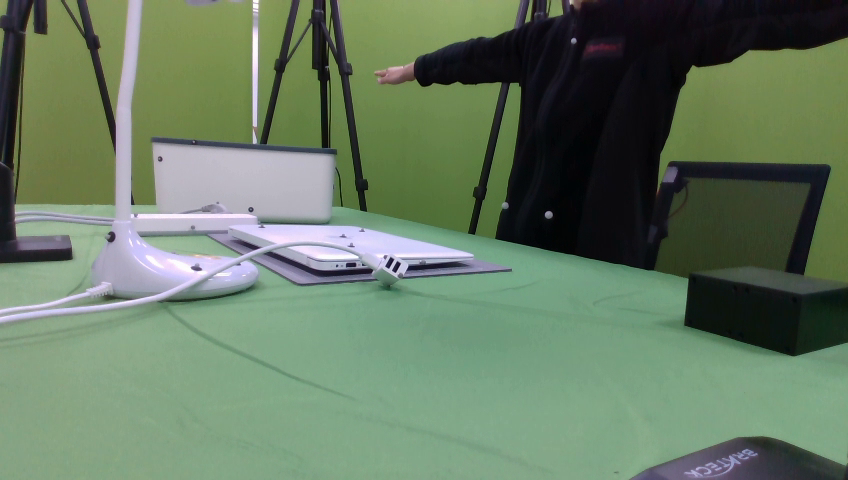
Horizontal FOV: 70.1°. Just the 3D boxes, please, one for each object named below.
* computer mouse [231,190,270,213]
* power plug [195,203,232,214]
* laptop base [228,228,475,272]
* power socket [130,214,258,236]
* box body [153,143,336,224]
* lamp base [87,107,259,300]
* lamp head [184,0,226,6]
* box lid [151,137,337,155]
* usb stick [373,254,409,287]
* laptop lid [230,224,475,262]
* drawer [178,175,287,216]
[{"bbox_3d":[-0.382,-0.086,1.342,0.063,0.041,0.117,11,10,-4],"label":"computer mouse"},{"bbox_3d":[-0.392,-0.043,1.140,0.072,0.052,0.035,-11,2,36],"label":"power plug"},{"bbox_3d":[-0.122,0.012,0.889,0.237,0.023,0.352,1,7,-35],"label":"laptop base"},{"bbox_3d":[-0.398,-0.028,1.049,0.228,0.032,0.072,-3,8,-34],"label":"power socket"},{"bbox_3d":[-0.380,-0.130,1.344,0.365,0.160,0.253,1,7,-9],"label":"box body"},{"bbox_3d":[-0.254,-0.039,0.603,0.160,0.180,0.179,5,10,18],"label":"lamp base"},{"bbox_3d":[-0.229,-0.320,0.627,0.112,0.112,0.123,6,-35,26],"label":"lamp head"},{"bbox_3d":[-0.379,-0.203,1.334,0.372,0.015,0.262,2,7,-9],"label":"box lid"},{"bbox_3d":[-0.039,0.035,0.663,0.027,0.021,0.059,29,-22,-7],"label":"usb stick"},{"bbox_3d":[-0.119,0.000,0.888,0.243,0.013,0.355,1,7,-33],"label":"laptop lid"},{"bbox_3d":[-0.414,-0.103,1.341,0.212,0.073,0.194,5,6,-11],"label":"drawer"}]
